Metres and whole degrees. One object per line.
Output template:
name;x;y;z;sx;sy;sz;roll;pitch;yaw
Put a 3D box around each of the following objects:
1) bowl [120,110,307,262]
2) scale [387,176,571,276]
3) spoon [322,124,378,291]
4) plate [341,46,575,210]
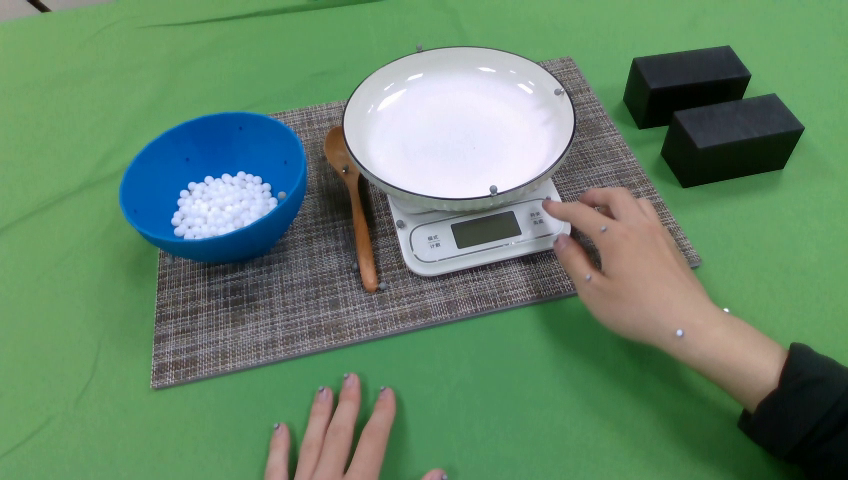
bowl;-0.169;-0.034;0.523;0.151;0.077;0.150;-2;52;3
scale;0.037;-0.064;0.562;0.149;0.032;0.198;-13;52;-5
spoon;-0.064;-0.036;0.552;0.042;0.022;0.191;-3;51;-16
plate;0.030;-0.101;0.550;0.209;0.038;0.207;-1;52;2
